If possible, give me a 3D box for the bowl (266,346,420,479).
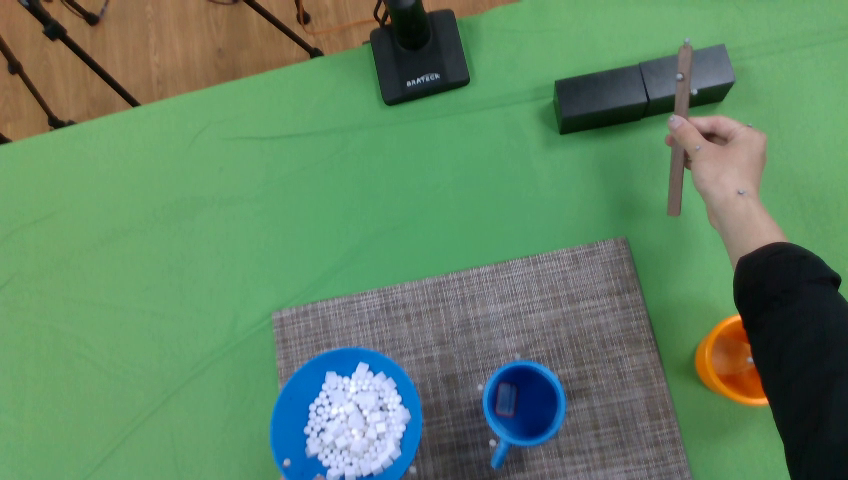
[{"bbox_3d":[-0.076,0.193,0.626,0.151,0.077,0.150,-1,64,2],"label":"bowl"}]

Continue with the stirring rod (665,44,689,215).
[{"bbox_3d":[0.265,-0.114,0.634,0.014,0.006,0.176,6,100,37],"label":"stirring rod"}]

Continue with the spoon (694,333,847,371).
[{"bbox_3d":[0.365,0.117,0.605,0.022,0.193,0.041,19,75,-32],"label":"spoon"}]

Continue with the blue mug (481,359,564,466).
[{"bbox_3d":[0.098,0.187,0.649,0.082,0.106,0.116,26,82,14],"label":"blue mug"}]
